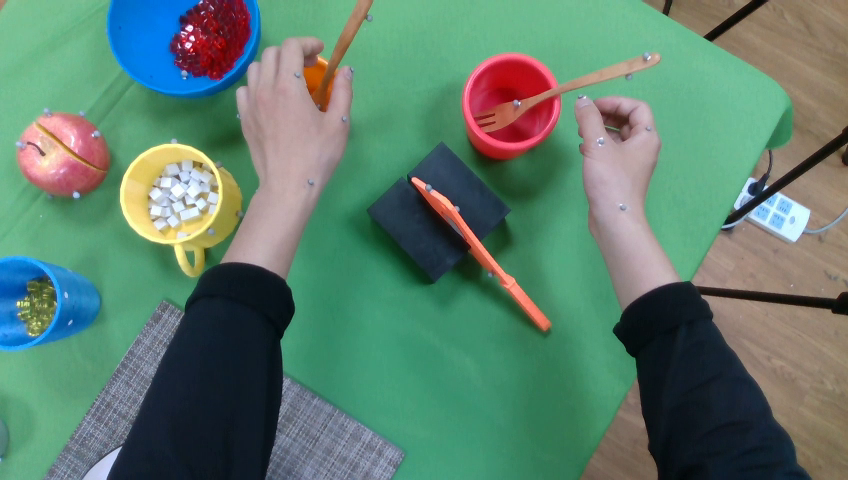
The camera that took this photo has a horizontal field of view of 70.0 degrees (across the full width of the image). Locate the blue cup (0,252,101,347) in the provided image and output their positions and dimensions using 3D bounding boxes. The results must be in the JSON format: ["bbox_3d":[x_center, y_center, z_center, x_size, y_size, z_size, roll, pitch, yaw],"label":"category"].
[{"bbox_3d":[-0.369,0.058,0.591,0.093,0.100,0.092,0,85,-3],"label":"blue cup"}]

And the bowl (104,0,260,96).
[{"bbox_3d":[-0.238,-0.214,0.630,0.151,0.077,0.151,0,85,-1],"label":"bowl"}]

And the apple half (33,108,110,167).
[{"bbox_3d":[-0.350,-0.110,0.620,0.081,0.081,0.033,38,84,3],"label":"apple half"}]

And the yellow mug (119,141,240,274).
[{"bbox_3d":[-0.244,-0.030,0.618,0.100,0.064,0.130,-10,86,-2],"label":"yellow mug"}]

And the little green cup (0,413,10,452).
[{"bbox_3d":[-0.454,0.198,0.609,0.061,0.039,0.061,0,84,-1],"label":"little green cup"}]

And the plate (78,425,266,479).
[{"bbox_3d":[-0.246,0.286,0.599,0.209,0.038,0.208,0,85,-1],"label":"plate"}]

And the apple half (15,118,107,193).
[{"bbox_3d":[-0.374,-0.077,0.618,0.081,0.074,0.053,38,88,0],"label":"apple half"}]

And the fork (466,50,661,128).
[{"bbox_3d":[0.127,-0.147,0.596,0.206,0.019,0.028,-13,67,40],"label":"fork"}]

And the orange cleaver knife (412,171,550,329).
[{"bbox_3d":[0.059,0.012,0.612,0.012,0.076,0.213,-43,116,-2],"label":"orange cleaver knife"}]

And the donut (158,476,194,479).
[{"bbox_3d":[-0.244,0.280,0.589,0.099,0.048,0.099,0,86,0],"label":"donut"}]

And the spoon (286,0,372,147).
[{"bbox_3d":[-0.091,-0.166,0.592,0.041,0.194,0.021,42,41,4],"label":"spoon"}]
